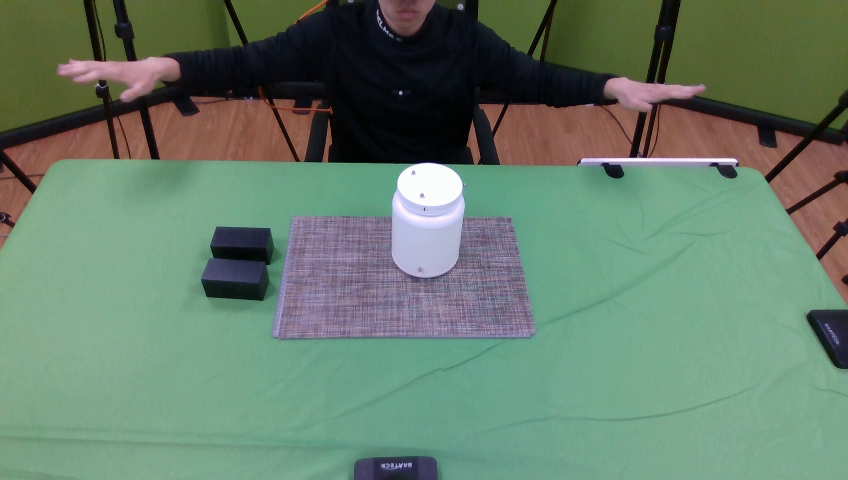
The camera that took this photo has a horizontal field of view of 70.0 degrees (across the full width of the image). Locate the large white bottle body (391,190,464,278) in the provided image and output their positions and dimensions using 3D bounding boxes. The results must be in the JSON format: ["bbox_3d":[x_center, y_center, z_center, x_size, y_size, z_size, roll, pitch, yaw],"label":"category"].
[{"bbox_3d":[0.005,-0.034,1.114,0.131,0.185,0.130,2,46,-2],"label":"large white bottle body"}]

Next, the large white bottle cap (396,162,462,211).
[{"bbox_3d":[0.009,-0.094,1.053,0.115,0.018,0.114,2,46,-2],"label":"large white bottle cap"}]
